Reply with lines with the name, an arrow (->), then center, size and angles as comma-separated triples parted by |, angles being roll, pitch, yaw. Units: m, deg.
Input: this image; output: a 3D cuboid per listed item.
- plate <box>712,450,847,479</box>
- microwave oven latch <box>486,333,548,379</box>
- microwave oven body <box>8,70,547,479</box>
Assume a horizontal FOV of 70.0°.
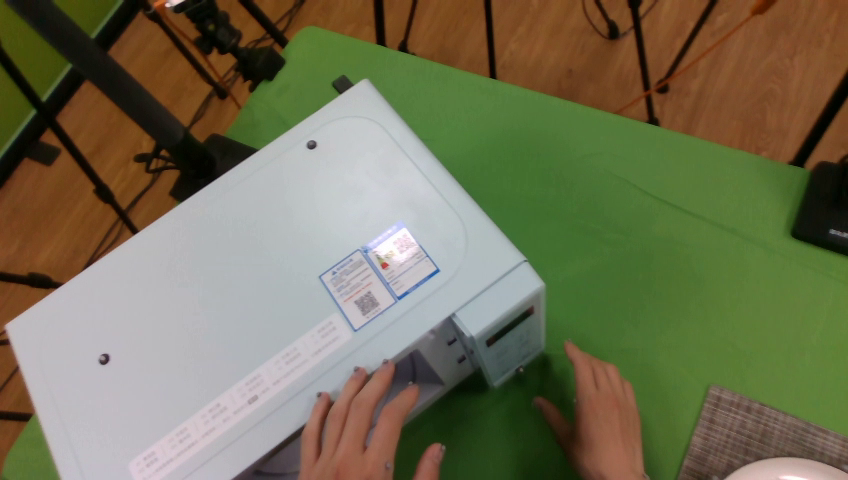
plate -> 0.369, 0.316, 0.597 | 0.207, 0.039, 0.206 | -4, 67, 9
microwave oven latch -> 0.109, 0.129, 0.713 | 0.079, 0.030, 0.030 | -35, 65, -4
microwave oven body -> -0.135, 0.092, 0.670 | 0.441, 0.262, 0.323 | -37, 66, -5
